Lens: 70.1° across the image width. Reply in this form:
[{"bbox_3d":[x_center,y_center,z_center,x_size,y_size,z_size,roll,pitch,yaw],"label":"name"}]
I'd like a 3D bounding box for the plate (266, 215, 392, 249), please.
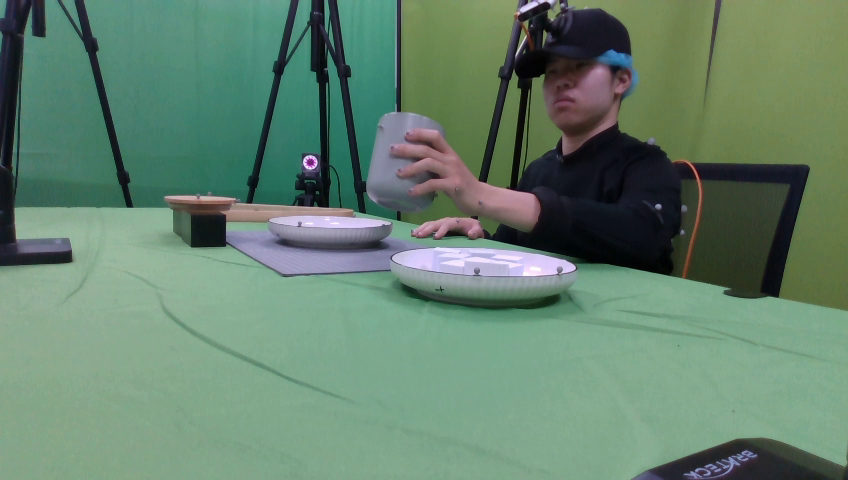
[{"bbox_3d":[-0.159,-0.015,1.019,0.209,0.038,0.209,3,7,0],"label":"plate"}]

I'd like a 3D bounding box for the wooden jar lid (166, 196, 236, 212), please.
[{"bbox_3d":[-0.369,-0.060,1.001,0.108,0.020,0.108,3,6,0],"label":"wooden jar lid"}]

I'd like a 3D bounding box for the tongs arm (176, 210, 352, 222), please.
[{"bbox_3d":[-0.337,-0.053,1.329,0.389,0.028,0.028,-1,6,-27],"label":"tongs arm"}]

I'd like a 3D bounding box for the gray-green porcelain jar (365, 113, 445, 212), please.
[{"bbox_3d":[-0.030,-0.112,0.913,0.106,0.126,0.106,9,-11,2],"label":"gray-green porcelain jar"}]

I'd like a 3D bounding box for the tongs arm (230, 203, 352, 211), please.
[{"bbox_3d":[-0.362,-0.069,1.405,0.386,0.026,0.050,2,8,-14],"label":"tongs arm"}]

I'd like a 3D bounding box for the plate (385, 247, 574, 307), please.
[{"bbox_3d":[0.060,0.041,0.678,0.208,0.039,0.207,3,7,0],"label":"plate"}]
